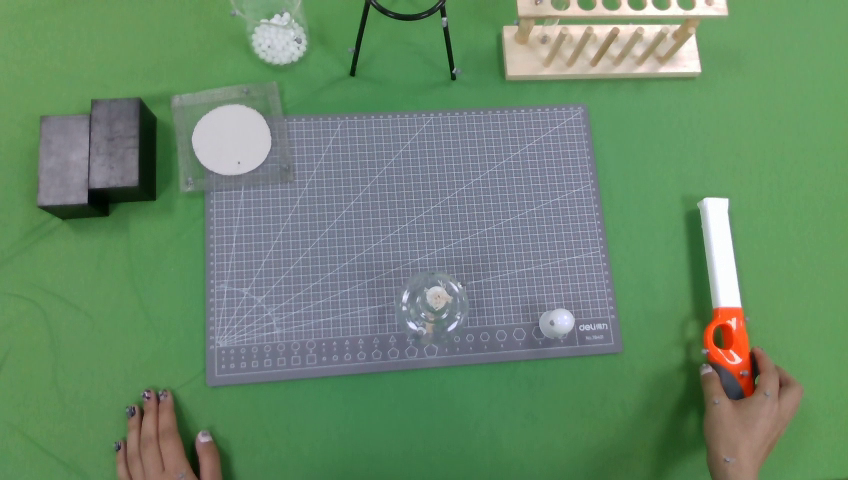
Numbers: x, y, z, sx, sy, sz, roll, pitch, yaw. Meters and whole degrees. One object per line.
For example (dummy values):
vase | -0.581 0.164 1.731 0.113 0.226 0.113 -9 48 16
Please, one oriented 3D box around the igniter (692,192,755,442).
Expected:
igniter | 0.331 0.080 0.672 0.057 0.025 0.275 1 76 -7

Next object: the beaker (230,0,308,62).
beaker | -0.168 -0.250 0.675 0.074 0.100 0.084 -34 83 -10

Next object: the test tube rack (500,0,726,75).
test tube rack | 0.219 -0.247 0.714 0.243 0.085 0.066 -2 78 -5

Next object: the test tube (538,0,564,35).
test tube | 0.150 -0.274 0.663 0.017 0.151 0.017 1 73 -4

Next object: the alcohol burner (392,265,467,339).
alcohol burner | 0.007 0.060 0.614 0.078 0.119 0.077 1 76 -5

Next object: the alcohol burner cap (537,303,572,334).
alcohol burner cap | 0.144 0.084 0.657 0.034 0.048 0.033 1 77 -3

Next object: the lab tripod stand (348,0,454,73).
lab tripod stand | -0.025 -0.255 0.670 0.148 0.132 0.147 1 77 -3

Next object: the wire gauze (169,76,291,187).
wire gauze | -0.221 -0.123 0.686 0.125 0.011 0.121 -9 78 -6
